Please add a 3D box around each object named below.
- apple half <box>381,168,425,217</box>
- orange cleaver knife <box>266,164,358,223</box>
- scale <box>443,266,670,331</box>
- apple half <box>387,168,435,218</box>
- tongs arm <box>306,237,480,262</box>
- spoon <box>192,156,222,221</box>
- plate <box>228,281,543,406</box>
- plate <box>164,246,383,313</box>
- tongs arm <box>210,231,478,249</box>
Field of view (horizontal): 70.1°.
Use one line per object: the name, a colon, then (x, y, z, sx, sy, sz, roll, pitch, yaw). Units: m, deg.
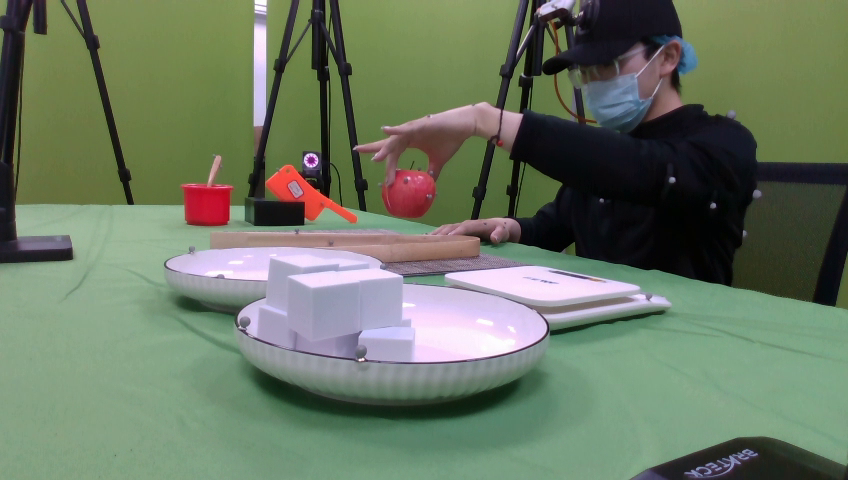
apple half: (-0.030, -0.073, 0.929, 0.081, 0.074, 0.053, -3, 7, -22)
orange cleaver knife: (-0.238, -0.082, 1.295, 0.212, 0.077, 0.012, 35, -9, -26)
scale: (0.131, 0.052, 0.603, 0.202, 0.031, 0.148, -2, 9, -37)
apple half: (-0.014, -0.068, 0.894, 0.081, 0.081, 0.032, -1, 6, -22)
tongs arm: (-0.070, 0.016, 0.800, 0.390, 0.028, 0.028, -2, 4, -34)
spoon: (-0.430, -0.108, 1.222, 0.041, 0.021, 0.193, -1, 52, 0)
plate: (-0.025, 0.067, 0.413, 0.208, 0.039, 0.207, 3, 7, 0)
plate: (-0.145, 0.038, 0.600, 0.209, 0.038, 0.209, 2, 7, 0)
tongs arm: (-0.106, 0.004, 0.876, 0.386, 0.026, 0.050, 0, 6, -20)
